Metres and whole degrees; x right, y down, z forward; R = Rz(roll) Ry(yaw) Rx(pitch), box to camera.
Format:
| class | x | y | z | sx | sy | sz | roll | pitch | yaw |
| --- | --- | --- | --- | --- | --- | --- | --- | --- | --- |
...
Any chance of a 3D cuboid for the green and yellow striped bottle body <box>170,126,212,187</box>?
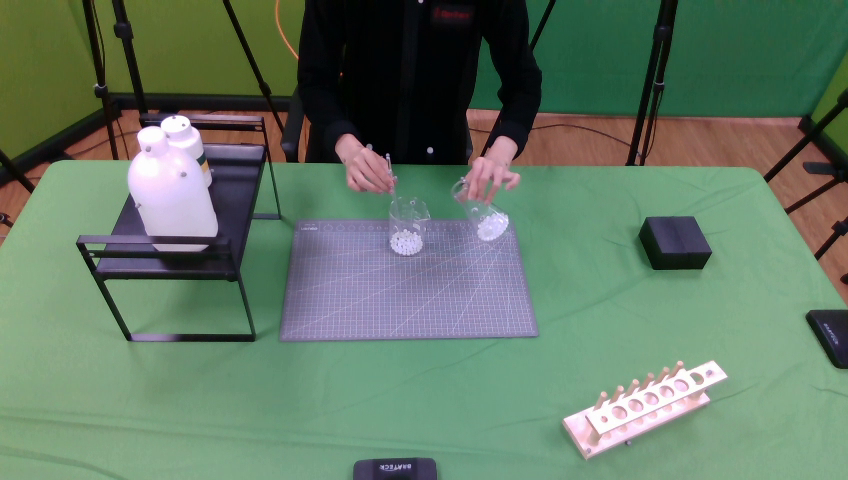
| class | x | y | z | sx | sy | sz | roll | pitch | yaw |
| --- | --- | --- | --- | --- | --- | --- | --- | --- | --- |
| green and yellow striped bottle body | -0.389 | -0.139 | 0.984 | 0.063 | 0.120 | 0.063 | 2 | 46 | -2 |

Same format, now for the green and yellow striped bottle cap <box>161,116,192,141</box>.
| class | x | y | z | sx | sy | sz | roll | pitch | yaw |
| --- | --- | --- | --- | --- | --- | --- | --- | --- | --- |
| green and yellow striped bottle cap | -0.387 | -0.174 | 0.946 | 0.045 | 0.020 | 0.045 | 3 | 44 | -3 |

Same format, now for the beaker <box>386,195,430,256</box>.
| class | x | y | z | sx | sy | sz | roll | pitch | yaw |
| --- | --- | --- | --- | --- | --- | --- | --- | --- | --- |
| beaker | -0.031 | -0.024 | 1.161 | 0.084 | 0.101 | 0.073 | 18 | 48 | 12 |

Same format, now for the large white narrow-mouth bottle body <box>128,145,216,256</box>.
| class | x | y | z | sx | sy | sz | roll | pitch | yaw |
| --- | --- | --- | --- | --- | --- | --- | --- | --- | --- |
| large white narrow-mouth bottle body | -0.366 | -0.073 | 0.872 | 0.102 | 0.195 | 0.101 | 3 | 47 | -3 |

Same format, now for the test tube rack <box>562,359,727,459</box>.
| class | x | y | z | sx | sy | sz | roll | pitch | yaw |
| --- | --- | --- | --- | --- | --- | --- | --- | --- | --- |
| test tube rack | 0.341 | 0.247 | 0.940 | 0.243 | 0.085 | 0.066 | -16 | 49 | -18 |

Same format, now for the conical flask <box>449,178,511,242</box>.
| class | x | y | z | sx | sy | sz | roll | pitch | yaw |
| --- | --- | --- | --- | --- | --- | --- | --- | --- | --- |
| conical flask | 0.096 | -0.058 | 1.094 | 0.075 | 0.122 | 0.075 | -32 | 33 | 24 |

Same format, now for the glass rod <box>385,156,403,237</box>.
| class | x | y | z | sx | sy | sz | roll | pitch | yaw |
| --- | --- | --- | --- | --- | --- | --- | --- | --- | --- |
| glass rod | -0.054 | -0.075 | 1.113 | 0.008 | 0.201 | 0.008 | -4 | 46 | 4 |

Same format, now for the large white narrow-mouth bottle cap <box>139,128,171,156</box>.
| class | x | y | z | sx | sy | sz | roll | pitch | yaw |
| --- | --- | --- | --- | --- | --- | --- | --- | --- | --- |
| large white narrow-mouth bottle cap | -0.358 | -0.131 | 0.808 | 0.038 | 0.024 | 0.037 | 3 | 47 | -3 |
